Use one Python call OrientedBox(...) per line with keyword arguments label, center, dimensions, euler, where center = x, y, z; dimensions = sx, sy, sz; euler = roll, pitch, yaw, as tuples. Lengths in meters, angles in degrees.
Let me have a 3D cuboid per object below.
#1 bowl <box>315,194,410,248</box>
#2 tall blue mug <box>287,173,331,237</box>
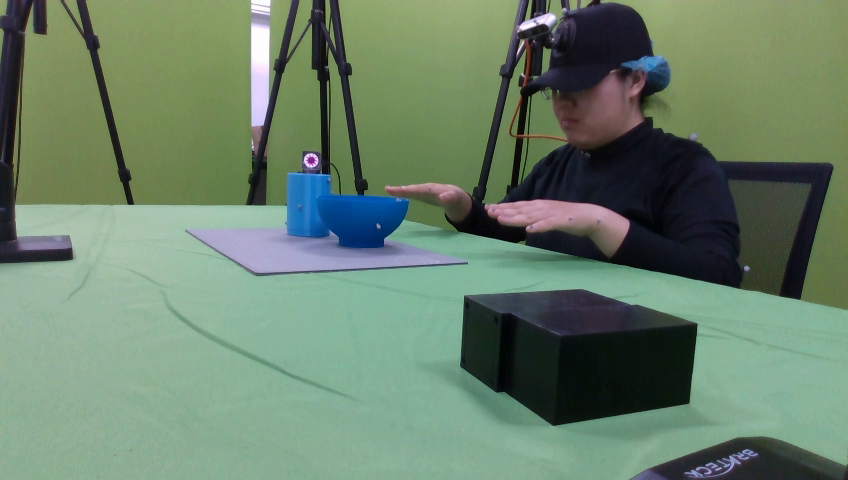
OrientedBox(label="bowl", center=(-0.100, -0.031, 0.971), dimensions=(0.151, 0.077, 0.151), euler=(2, 7, 0))
OrientedBox(label="tall blue mug", center=(-0.207, -0.066, 1.088), dimensions=(0.078, 0.108, 0.107), euler=(0, 8, -12))
